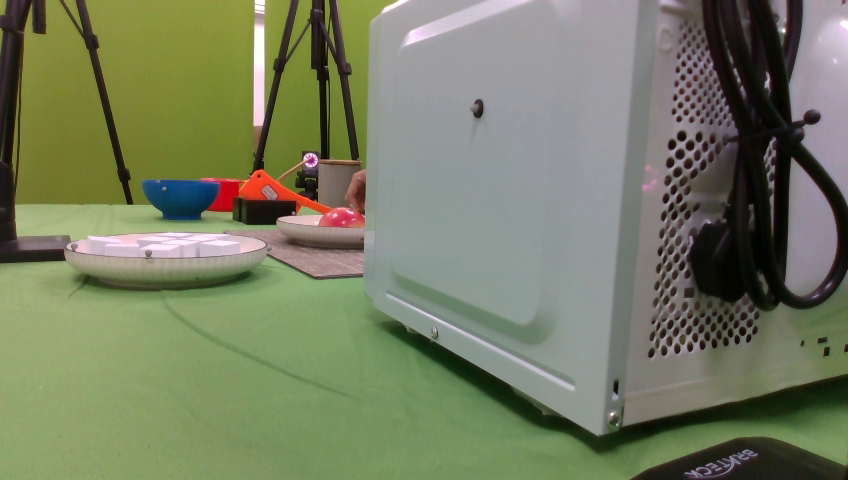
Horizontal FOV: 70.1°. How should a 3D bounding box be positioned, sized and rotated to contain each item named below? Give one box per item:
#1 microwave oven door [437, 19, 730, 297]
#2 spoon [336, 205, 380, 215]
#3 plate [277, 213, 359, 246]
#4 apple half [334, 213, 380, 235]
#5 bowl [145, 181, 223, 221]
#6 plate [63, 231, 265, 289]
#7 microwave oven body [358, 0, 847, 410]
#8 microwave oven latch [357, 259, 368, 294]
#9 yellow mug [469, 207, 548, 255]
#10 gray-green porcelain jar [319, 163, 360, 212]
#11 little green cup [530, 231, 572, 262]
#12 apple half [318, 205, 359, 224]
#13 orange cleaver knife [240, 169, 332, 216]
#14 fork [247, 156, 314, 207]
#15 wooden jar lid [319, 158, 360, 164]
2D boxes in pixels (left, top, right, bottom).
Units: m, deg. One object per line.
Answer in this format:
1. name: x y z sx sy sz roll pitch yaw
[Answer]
1. microwave oven door: 0.181 -0.076 0.618 0.358 0.243 0.039 -2 9 -28
2. spoon: -0.133 -0.067 1.287 0.041 0.021 0.194 -9 2 19
3. plate: -0.135 -0.018 0.993 0.209 0.038 0.209 2 7 0
4. apple half: -0.112 -0.029 1.034 0.081 0.033 0.081 0 10 0
5. bowl: -0.499 -0.081 1.261 0.151 0.077 0.151 2 7 0
6. plate: -0.288 0.021 0.687 0.208 0.039 0.207 2 8 0
7. microwave oven body: 0.210 -0.051 0.471 0.444 0.260 0.324 -1 7 -28
8. microwave oven latch: -0.019 0.031 0.529 0.079 0.029 0.030 -1 7 -27
9. yellow mug: 0.136 -0.015 0.950 0.131 0.064 0.099 3 5 -20
10. gray-green porcelain jar: -0.204 -0.126 1.489 0.106 0.126 0.106 2 7 0
11. little green cup: 0.183 0.010 0.879 0.061 0.038 0.061 4 7 0
12. apple half: -0.126 -0.029 0.954 0.081 0.053 0.074 -2 11 -33
13. orange cleaver knife: -0.286 -0.082 1.298 0.212 0.077 0.012 25 -2 -31
14. fork: -0.360 -0.147 1.523 0.207 0.018 0.028 -43 15 -6
15. wooden jar lid: -0.203 -0.189 1.482 0.108 0.020 0.108 2 10 0
